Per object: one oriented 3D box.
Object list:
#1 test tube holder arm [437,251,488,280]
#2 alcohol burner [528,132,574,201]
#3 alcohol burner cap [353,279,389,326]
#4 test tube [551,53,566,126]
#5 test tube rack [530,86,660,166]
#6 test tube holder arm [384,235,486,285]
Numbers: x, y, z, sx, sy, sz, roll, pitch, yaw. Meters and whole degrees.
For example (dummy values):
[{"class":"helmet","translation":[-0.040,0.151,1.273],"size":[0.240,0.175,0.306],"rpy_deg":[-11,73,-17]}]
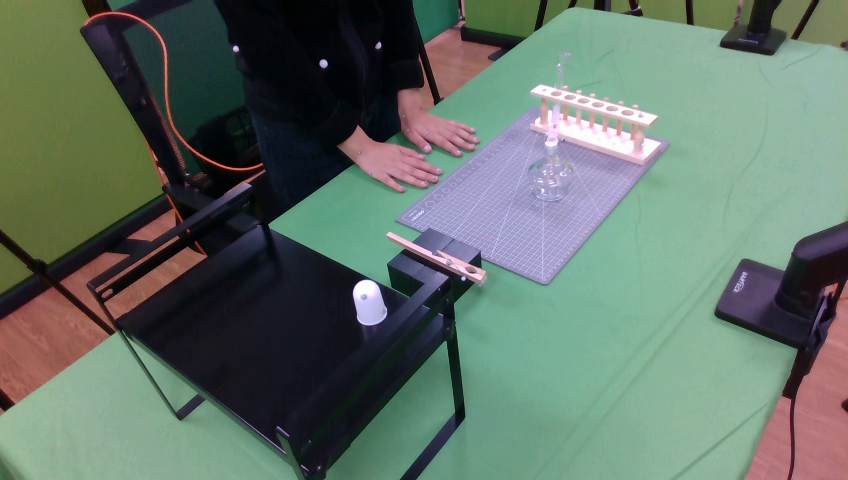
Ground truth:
[{"class":"test tube holder arm","translation":[0.052,0.037,0.852],"size":[0.087,0.015,0.010],"rpy_deg":[22,54,30]},{"class":"alcohol burner","translation":[0.214,-0.126,1.016],"size":[0.078,0.119,0.077],"rpy_deg":[-5,38,5]},{"class":"alcohol burner cap","translation":[-0.055,0.061,0.616],"size":[0.034,0.048,0.033],"rpy_deg":[-5,41,5]},{"class":"test tube","translation":[0.252,-0.280,1.138],"size":[0.017,0.151,0.017],"rpy_deg":[-3,44,3]},{"class":"test tube rack","translation":[0.320,-0.226,1.140],"size":[0.240,0.085,0.067],"rpy_deg":[27,51,34]},{"class":"test tube holder arm","translation":[0.012,0.026,0.871],"size":[0.177,0.015,0.013],"rpy_deg":[21,53,30]}]
